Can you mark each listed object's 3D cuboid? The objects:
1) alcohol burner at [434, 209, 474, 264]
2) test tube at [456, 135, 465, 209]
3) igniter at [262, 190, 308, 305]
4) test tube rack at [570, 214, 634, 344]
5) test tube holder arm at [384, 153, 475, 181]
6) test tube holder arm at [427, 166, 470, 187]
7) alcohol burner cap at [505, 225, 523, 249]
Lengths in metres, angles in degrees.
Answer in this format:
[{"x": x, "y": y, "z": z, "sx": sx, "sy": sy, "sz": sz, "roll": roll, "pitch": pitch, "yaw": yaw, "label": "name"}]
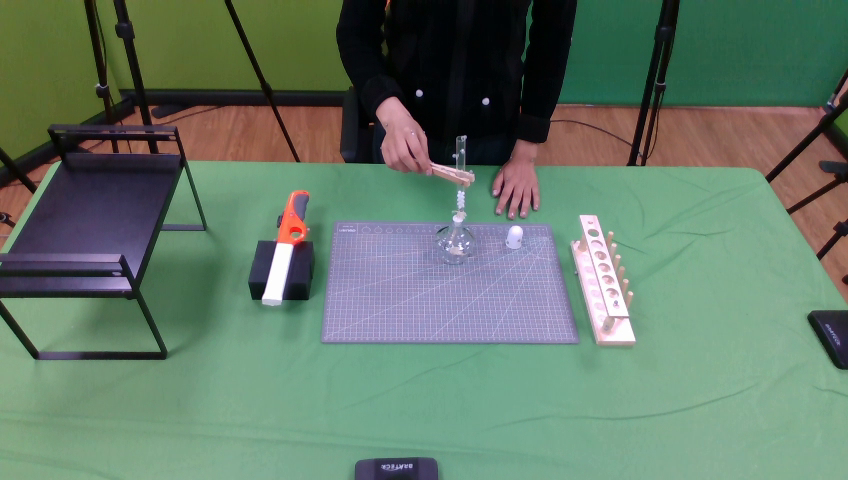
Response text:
[{"x": 0.058, "y": -0.012, "z": 1.147, "sx": 0.078, "sy": 0.119, "sz": 0.077, "roll": 3, "pitch": 45, "yaw": -3, "label": "alcohol burner"}, {"x": 0.063, "y": -0.114, "z": 1.046, "sx": 0.017, "sy": 0.151, "sz": 0.017, "roll": -2, "pitch": 43, "yaw": 2, "label": "test tube"}, {"x": -0.252, "y": 0.004, "z": 1.107, "sx": 0.057, "sy": 0.025, "sz": 0.275, "roll": 7, "pitch": 47, "yaw": -6, "label": "igniter"}, {"x": 0.333, "y": 0.067, "z": 1.116, "sx": 0.067, "sy": 0.085, "sz": 0.241, "roll": 1, "pitch": 46, "yaw": -3, "label": "test tube rack"}, {"x": 0.007, "y": -0.130, "z": 1.081, "sx": 0.178, "sy": 0.015, "sz": 0.013, "roll": 17, "pitch": 51, "yaw": 24, "label": "test tube holder arm"}, {"x": 0.042, "y": -0.113, "z": 1.058, "sx": 0.087, "sy": 0.015, "sz": 0.010, "roll": 25, "pitch": 55, "yaw": 30, "label": "test tube holder arm"}, {"x": 0.180, "y": -0.009, "z": 1.203, "sx": 0.034, "sy": 0.048, "sz": 0.033, "roll": 2, "pitch": 47, "yaw": -2, "label": "alcohol burner cap"}]
